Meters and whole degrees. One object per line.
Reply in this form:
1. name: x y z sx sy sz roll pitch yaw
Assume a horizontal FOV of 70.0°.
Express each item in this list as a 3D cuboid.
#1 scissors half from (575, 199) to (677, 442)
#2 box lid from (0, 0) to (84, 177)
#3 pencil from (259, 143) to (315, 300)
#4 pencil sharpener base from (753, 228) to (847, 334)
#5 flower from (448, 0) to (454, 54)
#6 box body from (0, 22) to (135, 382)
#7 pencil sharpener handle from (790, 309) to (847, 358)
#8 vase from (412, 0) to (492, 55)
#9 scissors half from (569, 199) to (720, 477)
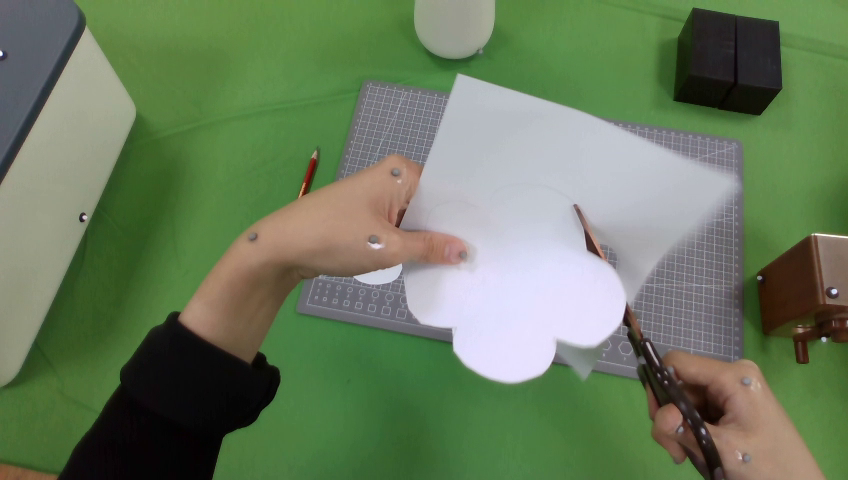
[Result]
1. scissors half: 0.123 0.051 0.364 0.013 0.039 0.176 -26 111 5
2. box lid: -0.481 -0.091 0.520 0.263 0.015 0.369 11 67 4
3. pencil: -0.146 -0.025 0.660 0.012 0.012 0.193 11 66 5
4. pencil sharpener base: 0.371 0.045 0.578 0.061 0.108 0.076 6 67 3
5. flower: 0.027 -0.347 0.601 0.044 0.365 0.038 3 49 5
6. box body: -0.481 -0.059 0.589 0.254 0.161 0.361 10 68 4
7. pencil sharpener handle: 0.361 0.086 0.548 0.036 0.068 0.030 11 67 -10
8. vase: 0.032 -0.302 0.672 0.098 0.201 0.097 0 66 1
9. scissors half: 0.123 0.054 0.342 0.013 0.040 0.175 -27 87 0
